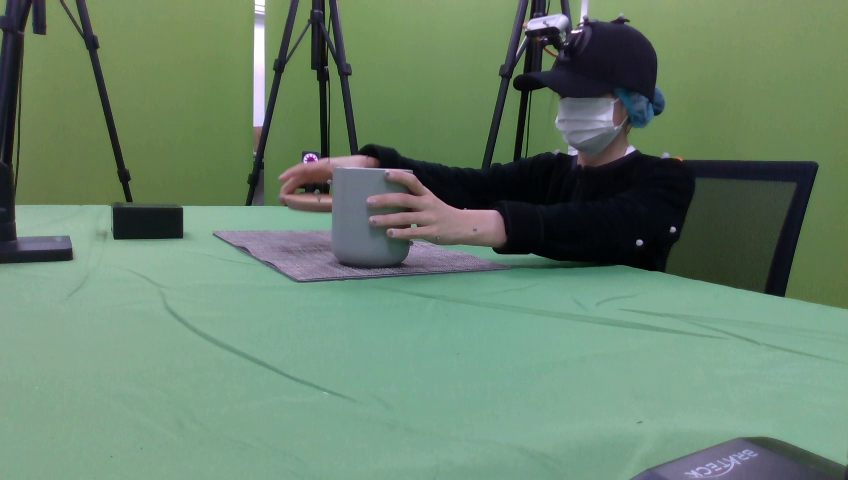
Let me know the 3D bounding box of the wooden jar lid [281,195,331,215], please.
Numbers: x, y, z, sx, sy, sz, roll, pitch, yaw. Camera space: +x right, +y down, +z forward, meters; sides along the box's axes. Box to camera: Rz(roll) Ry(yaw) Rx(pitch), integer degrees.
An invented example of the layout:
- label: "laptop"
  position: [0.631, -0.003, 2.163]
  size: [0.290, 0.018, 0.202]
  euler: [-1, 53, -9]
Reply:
- label: "wooden jar lid"
  position: [-0.170, -0.056, 0.953]
  size: [0.108, 0.020, 0.108]
  euler: [4, 12, 0]

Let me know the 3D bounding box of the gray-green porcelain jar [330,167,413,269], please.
- label: "gray-green porcelain jar"
  position: [-0.069, -0.030, 0.791]
  size: [0.106, 0.126, 0.106]
  euler: [3, 7, 0]
